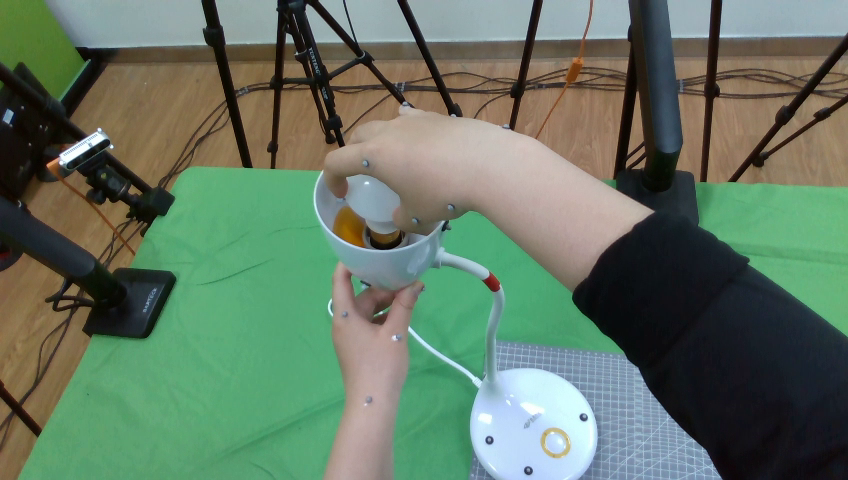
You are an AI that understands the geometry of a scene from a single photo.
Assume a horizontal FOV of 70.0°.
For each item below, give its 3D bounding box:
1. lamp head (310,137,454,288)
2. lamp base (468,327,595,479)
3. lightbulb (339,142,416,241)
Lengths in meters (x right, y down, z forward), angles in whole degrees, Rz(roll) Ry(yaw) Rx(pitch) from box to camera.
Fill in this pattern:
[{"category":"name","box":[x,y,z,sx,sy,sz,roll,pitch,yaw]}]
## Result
[{"category":"lamp head","box":[-0.030,-0.010,0.525,0.112,0.124,0.111,-3,57,5]},{"category":"lamp base","box":[0.116,0.182,0.721,0.177,0.182,0.160,27,62,29]},{"category":"lightbulb","box":[-0.036,-0.034,0.492,0.059,0.108,0.059,1,58,-1]}]
